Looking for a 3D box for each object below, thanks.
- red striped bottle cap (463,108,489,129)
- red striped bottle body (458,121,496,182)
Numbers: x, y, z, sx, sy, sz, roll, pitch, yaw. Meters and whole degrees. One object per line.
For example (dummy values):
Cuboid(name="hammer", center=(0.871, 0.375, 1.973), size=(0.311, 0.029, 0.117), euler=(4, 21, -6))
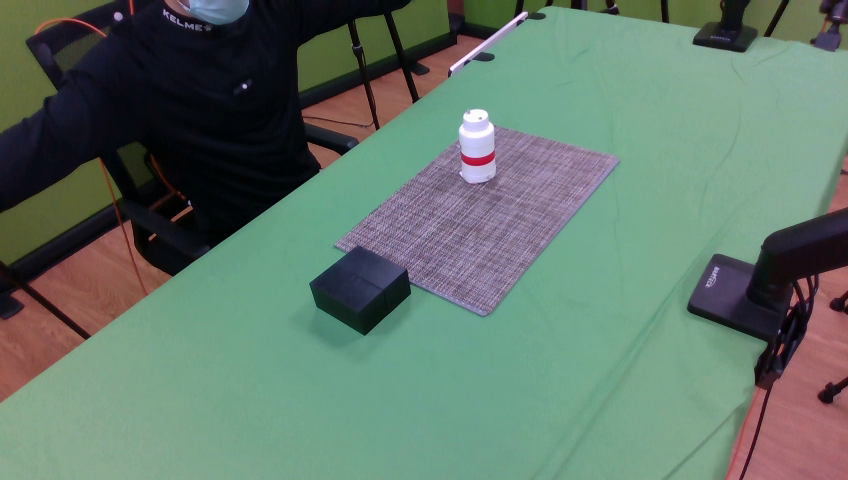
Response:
Cuboid(name="red striped bottle cap", center=(0.089, -0.208, 1.034), size=(0.044, 0.018, 0.044), euler=(-5, 43, 5))
Cuboid(name="red striped bottle body", center=(0.094, -0.167, 1.068), size=(0.063, 0.120, 0.062), euler=(-4, 41, 4))
